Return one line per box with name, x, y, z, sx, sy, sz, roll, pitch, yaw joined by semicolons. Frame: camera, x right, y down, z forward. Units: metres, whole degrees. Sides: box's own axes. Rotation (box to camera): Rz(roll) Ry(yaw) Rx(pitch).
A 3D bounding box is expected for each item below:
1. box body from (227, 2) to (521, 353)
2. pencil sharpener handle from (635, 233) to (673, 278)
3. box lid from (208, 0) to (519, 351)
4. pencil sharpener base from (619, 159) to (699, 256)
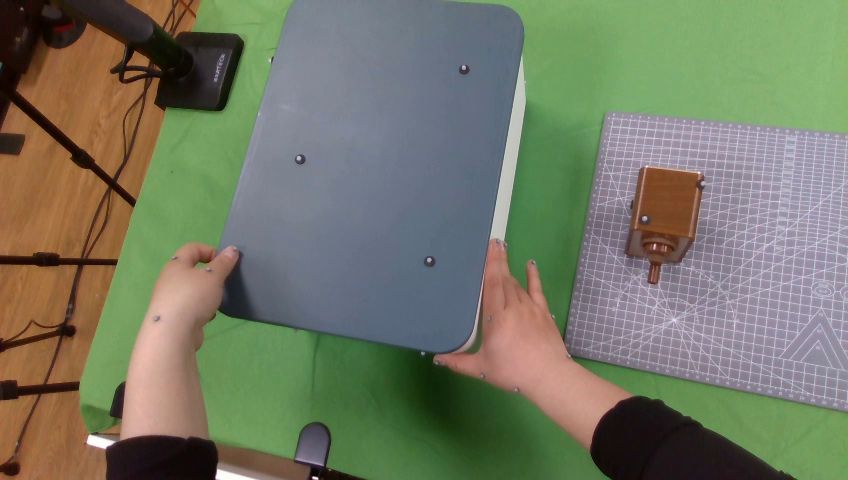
box body;-0.036;-0.064;0.693;0.253;0.161;0.362;7;77;15
pencil sharpener handle;0.233;0.018;0.617;0.036;0.068;0.030;8;77;24
box lid;-0.056;-0.089;0.611;0.263;0.015;0.370;8;77;9
pencil sharpener base;0.245;-0.028;0.639;0.061;0.108;0.076;9;78;16
